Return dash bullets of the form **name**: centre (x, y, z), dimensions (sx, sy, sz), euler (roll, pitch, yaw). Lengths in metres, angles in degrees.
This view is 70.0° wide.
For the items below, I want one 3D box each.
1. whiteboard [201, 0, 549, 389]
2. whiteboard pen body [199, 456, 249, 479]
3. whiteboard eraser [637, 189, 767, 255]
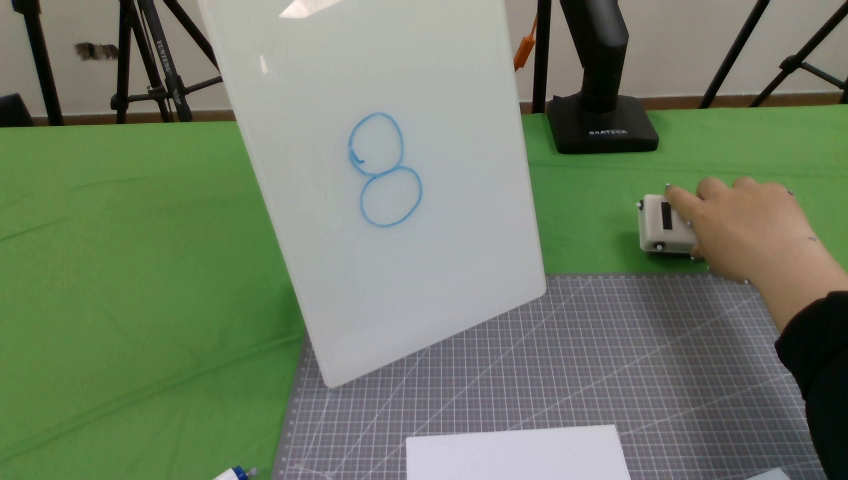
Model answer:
- **whiteboard**: centre (-0.039, -0.073, 0.518), dimensions (0.217, 0.307, 0.142), euler (-20, 24, -18)
- **whiteboard pen body**: centre (-0.181, 0.187, 0.396), dimensions (0.141, 0.017, 0.017), euler (-28, 47, -28)
- **whiteboard eraser**: centre (0.267, -0.017, 0.587), dimensions (0.112, 0.042, 0.055), euler (4, 66, 4)
